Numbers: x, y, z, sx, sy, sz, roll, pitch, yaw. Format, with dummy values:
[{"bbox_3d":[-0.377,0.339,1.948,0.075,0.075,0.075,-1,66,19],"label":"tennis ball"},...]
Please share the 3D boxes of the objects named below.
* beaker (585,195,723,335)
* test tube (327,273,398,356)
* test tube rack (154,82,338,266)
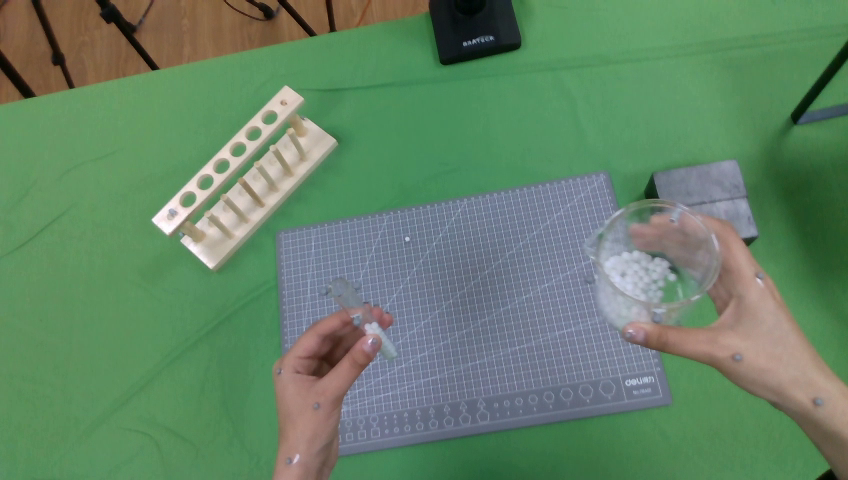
[{"bbox_3d":[0.155,0.023,0.428,0.083,0.101,0.073,7,69,16],"label":"beaker"},{"bbox_3d":[-0.045,0.065,0.488,0.017,0.152,0.017,-6,61,11],"label":"test tube"},{"bbox_3d":[-0.229,-0.086,0.803,0.066,0.086,0.242,38,79,18],"label":"test tube rack"}]
